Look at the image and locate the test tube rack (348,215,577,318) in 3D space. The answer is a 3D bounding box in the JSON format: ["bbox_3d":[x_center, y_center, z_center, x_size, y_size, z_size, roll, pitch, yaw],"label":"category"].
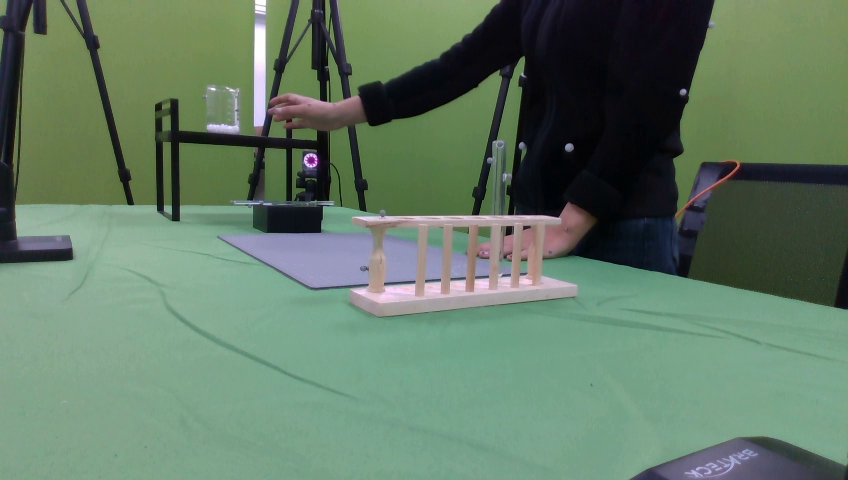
[{"bbox_3d":[0.048,0.021,0.619,0.244,0.085,0.066,-2,8,-31],"label":"test tube rack"}]

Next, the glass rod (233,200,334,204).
[{"bbox_3d":[-0.262,-0.071,1.146,0.201,0.008,0.008,-2,9,-34],"label":"glass rod"}]

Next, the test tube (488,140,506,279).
[{"bbox_3d":[0.079,-0.032,0.653,0.017,0.150,0.017,1,2,0],"label":"test tube"}]

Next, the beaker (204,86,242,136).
[{"bbox_3d":[-0.429,-0.276,1.300,0.083,0.100,0.074,9,10,37],"label":"beaker"}]
